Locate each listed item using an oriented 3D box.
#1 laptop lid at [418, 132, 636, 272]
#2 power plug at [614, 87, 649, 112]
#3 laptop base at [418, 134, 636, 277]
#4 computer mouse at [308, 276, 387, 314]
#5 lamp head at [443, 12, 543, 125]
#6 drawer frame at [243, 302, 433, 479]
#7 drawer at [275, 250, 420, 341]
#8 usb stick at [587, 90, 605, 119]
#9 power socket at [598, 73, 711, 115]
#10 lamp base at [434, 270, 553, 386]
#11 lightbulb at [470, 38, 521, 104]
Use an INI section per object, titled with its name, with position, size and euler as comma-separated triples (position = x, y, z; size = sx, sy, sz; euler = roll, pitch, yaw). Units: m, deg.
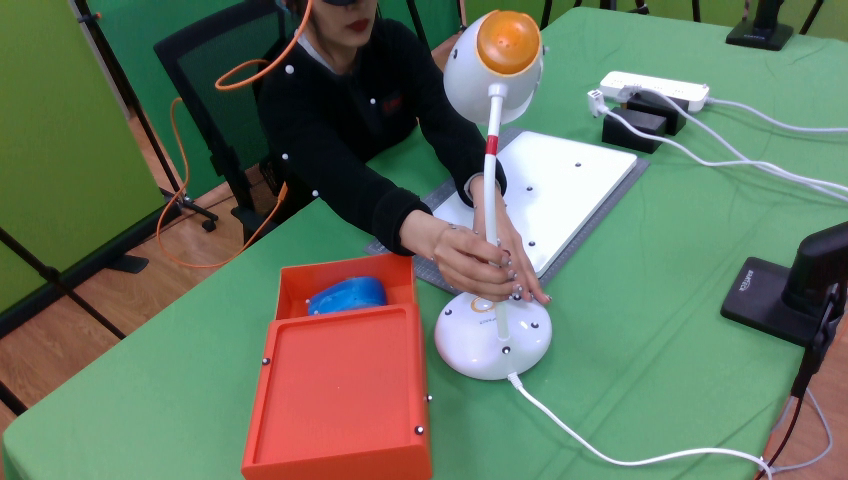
[laptop lid]
position = 0.181, -0.083, 1.036
size = 0.239, 0.013, 0.358
euler = 22, 49, 35
[power plug]
position = 0.406, -0.275, 1.192
size = 0.035, 0.053, 0.072
euler = -15, 24, -16
[laptop base]
position = 0.184, -0.075, 1.041
size = 0.233, 0.023, 0.355
euler = 19, 47, 35
[computer mouse]
position = -0.112, 0.090, 0.881
size = 0.117, 0.041, 0.062
euler = -15, 40, -1
[lamp head]
position = 0.079, -0.190, 0.660
size = 0.112, 0.112, 0.123
euler = -12, 1, -3
[drawer frame]
position = -0.096, 0.185, 0.738
size = 0.202, 0.083, 0.212
euler = -8, 40, 1
[drawer]
position = -0.103, 0.117, 0.825
size = 0.194, 0.073, 0.210
euler = -8, 40, 0
[usb stick]
position = 0.334, -0.258, 1.170
size = 0.021, 0.059, 0.027
euler = -28, 44, -5
[power socket]
position = 0.469, -0.304, 1.249
size = 0.225, 0.033, 0.072
euler = 20, 49, 30
[lamp base]
position = 0.085, 0.071, 0.760
size = 0.161, 0.181, 0.177
euler = -20, 44, -8
[lightbulb]
position = 0.083, -0.194, 0.684
size = 0.059, 0.108, 0.059
euler = 0, 81, 2
